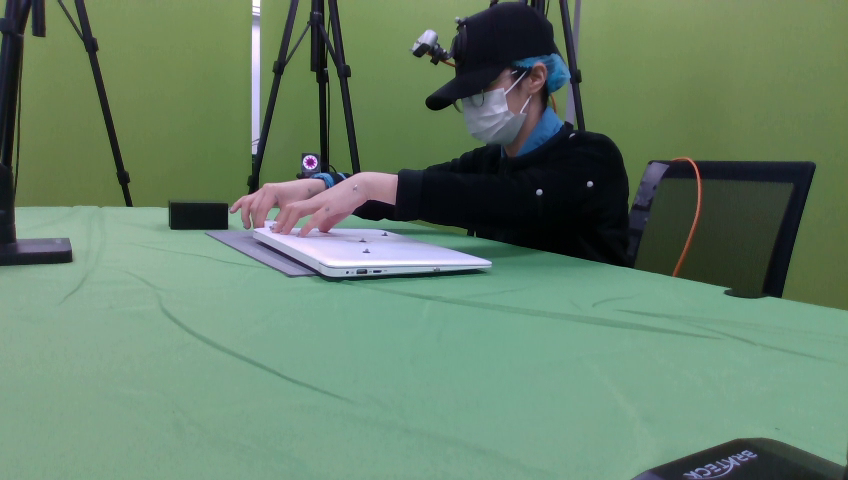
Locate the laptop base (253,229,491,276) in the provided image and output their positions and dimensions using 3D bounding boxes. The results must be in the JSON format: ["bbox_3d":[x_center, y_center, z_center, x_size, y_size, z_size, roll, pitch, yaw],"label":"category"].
[{"bbox_3d":[-0.094,0.015,0.889,0.237,0.023,0.352,2,7,-30],"label":"laptop base"}]

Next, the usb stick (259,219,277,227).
[{"bbox_3d":[-0.261,-0.020,1.017,0.021,0.027,0.059,0,9,-28],"label":"usb stick"}]

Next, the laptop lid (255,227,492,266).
[{"bbox_3d":[-0.092,0.004,0.888,0.243,0.013,0.355,0,8,-28],"label":"laptop lid"}]
